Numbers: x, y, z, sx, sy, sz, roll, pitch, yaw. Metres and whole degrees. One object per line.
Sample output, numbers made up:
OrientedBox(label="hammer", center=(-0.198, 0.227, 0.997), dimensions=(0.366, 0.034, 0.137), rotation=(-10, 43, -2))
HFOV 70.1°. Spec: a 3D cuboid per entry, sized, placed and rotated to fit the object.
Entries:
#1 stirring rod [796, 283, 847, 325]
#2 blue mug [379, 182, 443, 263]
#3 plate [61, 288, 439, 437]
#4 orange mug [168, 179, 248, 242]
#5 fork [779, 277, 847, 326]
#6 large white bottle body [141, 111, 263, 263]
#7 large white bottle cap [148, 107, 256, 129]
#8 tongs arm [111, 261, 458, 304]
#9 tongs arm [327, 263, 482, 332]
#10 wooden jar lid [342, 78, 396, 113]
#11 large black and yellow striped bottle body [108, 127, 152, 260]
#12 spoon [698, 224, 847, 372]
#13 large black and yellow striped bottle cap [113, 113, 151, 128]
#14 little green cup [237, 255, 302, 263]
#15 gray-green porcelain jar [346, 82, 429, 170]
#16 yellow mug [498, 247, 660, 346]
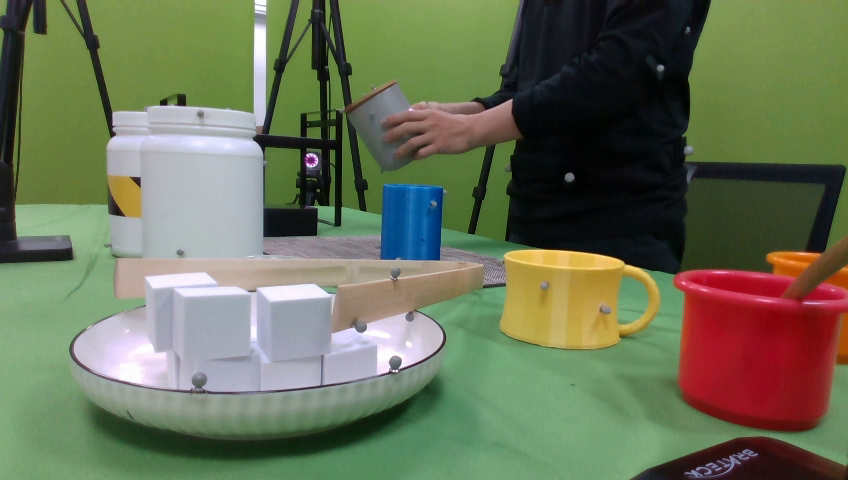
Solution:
OrientedBox(label="stirring rod", center=(0.347, 0.019, 0.460), dimensions=(0.014, 0.176, 0.006), rotation=(-17, 59, -26))
OrientedBox(label="blue mug", center=(-0.020, -0.026, 0.833), dimensions=(0.082, 0.106, 0.116), rotation=(1, 7, -7))
OrientedBox(label="plate", center=(-0.095, 0.069, 0.362), dimensions=(0.208, 0.039, 0.207), rotation=(3, 7, 0))
OrientedBox(label="orange mug", center=(-0.351, -0.050, 0.986), dimensions=(0.126, 0.101, 0.083), rotation=(-3, 8, -9))
OrientedBox(label="fork", center=(0.335, 0.018, 0.443), dimensions=(0.028, 0.018, 0.207), rotation=(-1, -36, -20))
OrientedBox(label="large white bottle body", center=(-0.254, -0.054, 0.697), dimensions=(0.131, 0.184, 0.130), rotation=(2, 7, 0))
OrientedBox(label="large white bottle cap", center=(-0.250, -0.137, 0.686), dimensions=(0.115, 0.018, 0.115), rotation=(2, 8, 0))
OrientedBox(label="tongs arm", center=(-0.080, 0.032, 0.527), dimensions=(0.028, 0.027, 0.389), rotation=(-3, -3, 33))
OrientedBox(label="tongs arm", center=(-0.003, 0.036, 0.493), dimensions=(0.050, 0.026, 0.386), rotation=(1, 0, 19))
OrientedBox(label="wooden jar lid", center=(-0.093, -0.247, 1.056), dimensions=(0.108, 0.021, 0.108), rotation=(-30, 12, 8))
OrientedBox(label="large black and yellow striped bottle body", center=(-0.350, -0.071, 0.812), dimensions=(0.131, 0.184, 0.130), rotation=(2, 7, 0))
OrientedBox(label="spoon", center=(0.195, 0.032, 0.323), dimensions=(0.041, 0.021, 0.194), rotation=(1, -36, 2))
OrientedBox(label="large black and yellow striped bottle cap", center=(-0.348, -0.154, 0.800), dimensions=(0.115, 0.019, 0.115), rotation=(2, 6, 0))
OrientedBox(label="little green cup", center=(-0.150, 0.038, 0.590), dimensions=(0.061, 0.038, 0.061), rotation=(3, 6, 0))
OrientedBox(label="gray-green porcelain jar", center=(-0.059, -0.196, 1.070), dimensions=(0.106, 0.126, 0.106), rotation=(-31, 13, 8))
OrientedBox(label="yellow mug", center=(0.130, 0.045, 0.508), dimensions=(0.131, 0.064, 0.100), rotation=(4, 7, 6))
